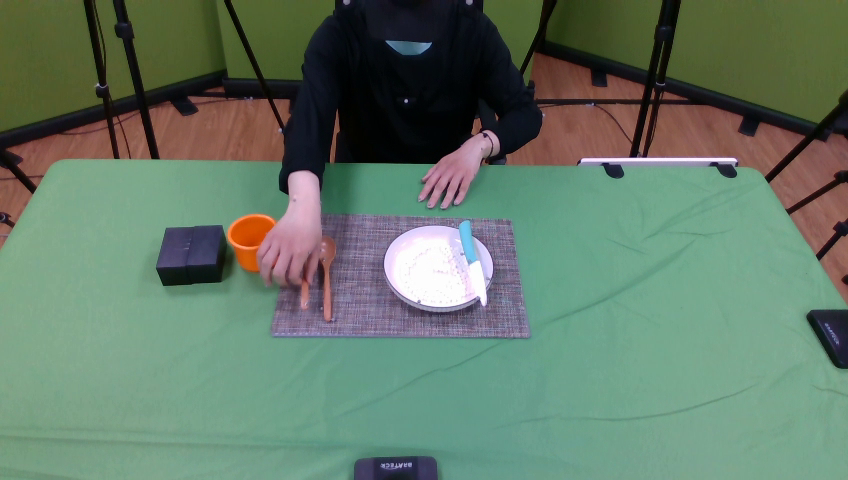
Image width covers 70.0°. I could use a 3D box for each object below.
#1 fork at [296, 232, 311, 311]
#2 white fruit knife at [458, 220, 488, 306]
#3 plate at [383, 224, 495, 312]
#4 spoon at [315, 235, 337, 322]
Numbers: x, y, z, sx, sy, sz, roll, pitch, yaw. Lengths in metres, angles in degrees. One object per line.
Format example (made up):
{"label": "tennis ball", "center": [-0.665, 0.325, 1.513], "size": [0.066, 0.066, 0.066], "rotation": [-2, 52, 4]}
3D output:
{"label": "fork", "center": [-0.221, 0.054, 1.113], "size": [0.028, 0.019, 0.206], "rotation": [8, 35, -18]}
{"label": "white fruit knife", "center": [0.091, 0.039, 1.118], "size": [0.027, 0.016, 0.206], "rotation": [-1, 47, -11]}
{"label": "plate", "center": [0.026, 0.055, 1.128], "size": [0.209, 0.038, 0.208], "rotation": [2, 46, -2]}
{"label": "spoon", "center": [-0.179, 0.067, 1.111], "size": [0.042, 0.022, 0.192], "rotation": [8, 45, -17]}
